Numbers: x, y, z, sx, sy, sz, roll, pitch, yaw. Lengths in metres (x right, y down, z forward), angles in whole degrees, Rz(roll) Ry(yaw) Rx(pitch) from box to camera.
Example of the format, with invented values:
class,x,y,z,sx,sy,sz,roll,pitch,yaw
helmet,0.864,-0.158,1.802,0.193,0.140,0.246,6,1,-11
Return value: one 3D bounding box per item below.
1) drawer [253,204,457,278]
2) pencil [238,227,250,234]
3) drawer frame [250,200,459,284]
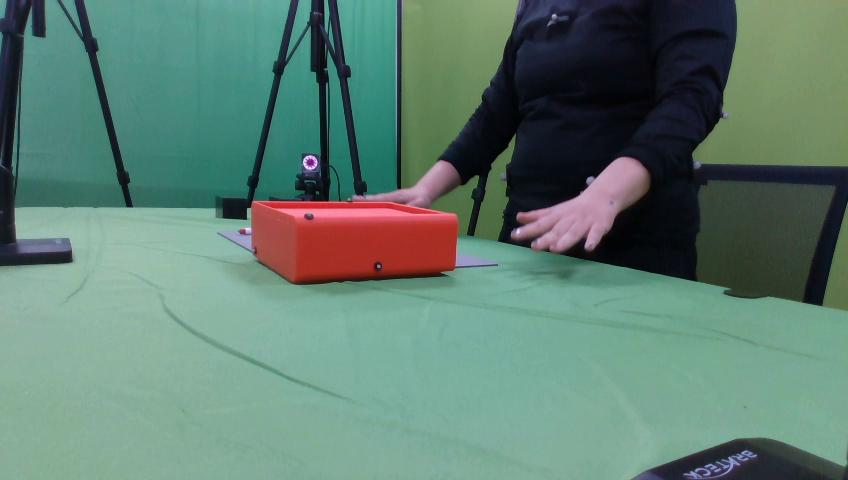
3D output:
class,x,y,z,sx,sy,sz,roll,pitch,yaw
drawer,-0.094,-0.004,0.790,0.213,0.073,0.193,-3,10,-30
pencil,-0.240,-0.015,1.104,0.195,0.012,0.012,1,7,-29
drawer frame,-0.095,-0.005,0.788,0.215,0.082,0.200,-3,10,-30
